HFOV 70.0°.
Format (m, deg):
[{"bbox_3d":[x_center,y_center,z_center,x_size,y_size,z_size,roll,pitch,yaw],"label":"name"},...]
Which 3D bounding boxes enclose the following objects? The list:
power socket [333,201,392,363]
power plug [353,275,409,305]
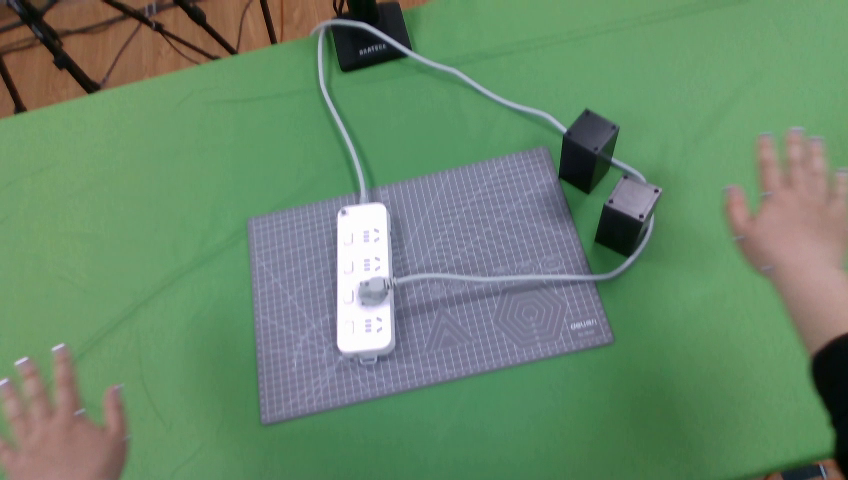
[{"bbox_3d":[-0.084,0.048,0.805,0.072,0.033,0.225,-6,64,4],"label":"power socket"},{"bbox_3d":[-0.055,0.066,0.772,0.072,0.053,0.035,4,66,7],"label":"power plug"}]
